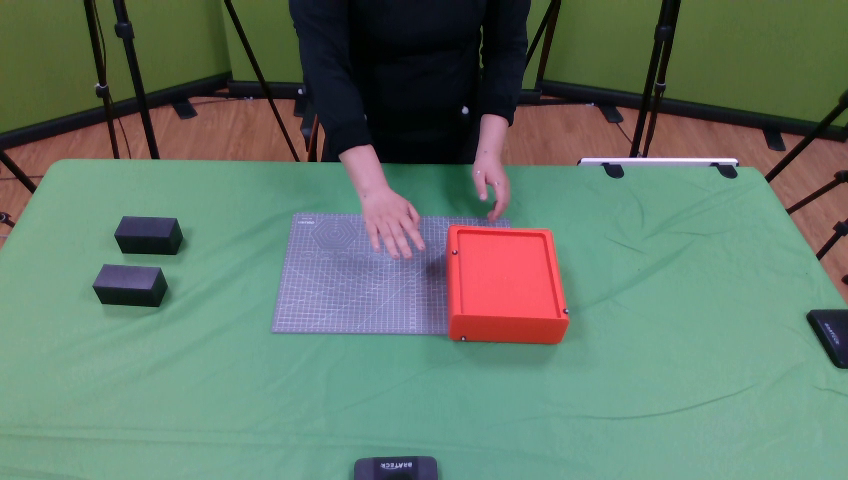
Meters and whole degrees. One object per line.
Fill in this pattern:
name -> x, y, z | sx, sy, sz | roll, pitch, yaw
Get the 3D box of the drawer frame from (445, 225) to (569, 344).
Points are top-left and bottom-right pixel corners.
drawer frame -> 0.141, 0.076, 1.089 | 0.202, 0.083, 0.212 | 3, 47, -4

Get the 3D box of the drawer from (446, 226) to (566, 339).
drawer -> 0.139, 0.073, 1.094 | 0.194, 0.073, 0.210 | 3, 47, -3

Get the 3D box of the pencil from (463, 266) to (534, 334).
pencil -> 0.130, 0.104, 1.099 | 0.012, 0.012, 0.193 | -26, 51, -26
